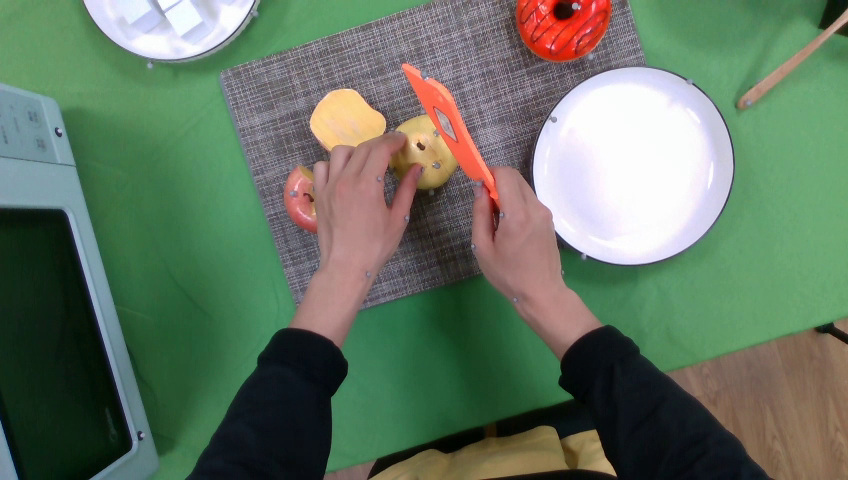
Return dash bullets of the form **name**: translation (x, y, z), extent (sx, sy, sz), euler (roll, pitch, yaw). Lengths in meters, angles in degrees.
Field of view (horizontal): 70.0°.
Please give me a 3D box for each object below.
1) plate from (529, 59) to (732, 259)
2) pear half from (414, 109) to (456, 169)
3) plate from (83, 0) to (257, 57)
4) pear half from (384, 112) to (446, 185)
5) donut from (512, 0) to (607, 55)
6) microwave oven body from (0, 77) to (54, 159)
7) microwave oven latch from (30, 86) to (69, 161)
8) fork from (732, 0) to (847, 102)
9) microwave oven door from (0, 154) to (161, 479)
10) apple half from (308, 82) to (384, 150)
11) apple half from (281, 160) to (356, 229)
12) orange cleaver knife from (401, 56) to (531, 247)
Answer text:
- **plate**: translation (0.215, -0.084, 0.645), extent (0.209, 0.038, 0.209), euler (0, 94, 3)
- **pear half**: translation (0.017, -0.110, 0.627), extent (0.031, 0.088, 0.070), euler (-36, 86, 4)
- **plate**: translation (-0.272, -0.301, 0.659), extent (0.207, 0.039, 0.207), euler (0, 94, 3)
- **pear half**: translation (-0.013, -0.090, 0.621), extent (0.056, 0.110, 0.076), euler (-34, 87, 1)
- **donut**: translation (0.141, -0.245, 0.635), extent (0.099, 0.048, 0.099), euler (0, 95, 6)
- **microwave oven body**: translation (-0.519, 0.088, 0.583), extent (0.326, 0.260, 0.442), euler (-15, 93, 3)
- **microwave oven latch**: translation (-0.416, -0.125, 0.659), extent (0.030, 0.029, 0.079), euler (-13, 94, 3)
- **fork**: translation (0.400, -0.216, 0.606), extent (0.028, 0.018, 0.207), euler (41, 115, -7)
- **microwave oven door**: translation (-0.368, 0.093, 0.570), extent (0.039, 0.243, 0.356), euler (-15, 93, 4)
- **apple half**: translation (-0.087, -0.127, 0.656), extent (0.081, 0.033, 0.081), euler (3, 72, -9)
- **apple half**: translation (-0.118, -0.042, 0.647), extent (0.081, 0.074, 0.053), euler (37, 99, -4)
- **orange cleaver knife**: translation (0.041, -0.076, 0.555), extent (0.012, 0.076, 0.213), euler (-39, 125, -5)
